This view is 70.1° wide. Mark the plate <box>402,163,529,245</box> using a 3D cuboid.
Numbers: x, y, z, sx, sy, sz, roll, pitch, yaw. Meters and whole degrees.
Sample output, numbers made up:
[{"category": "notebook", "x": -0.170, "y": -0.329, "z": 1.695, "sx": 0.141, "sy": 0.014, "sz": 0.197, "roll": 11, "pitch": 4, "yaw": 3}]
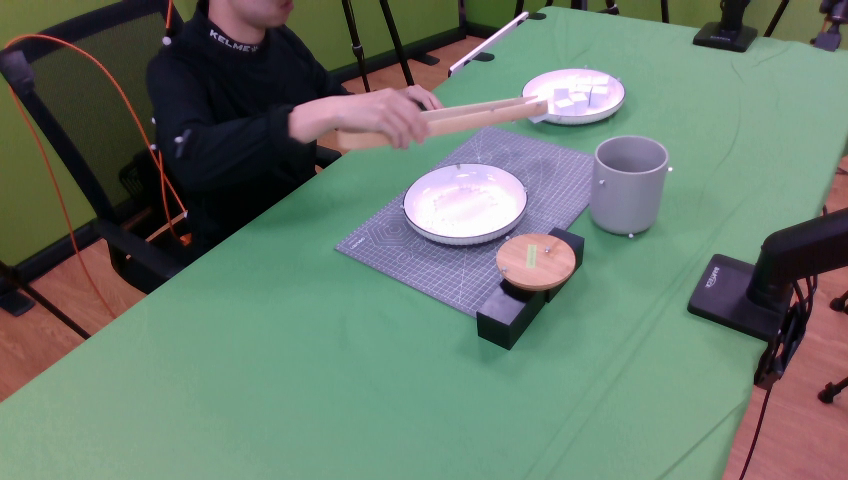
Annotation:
[{"category": "plate", "x": 0.070, "y": -0.056, "z": 1.008, "sx": 0.209, "sy": 0.038, "sz": 0.208, "roll": -4, "pitch": 40, "yaw": 4}]

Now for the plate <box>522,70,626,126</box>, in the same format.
[{"category": "plate", "x": 0.308, "y": -0.290, "z": 1.251, "sx": 0.207, "sy": 0.039, "sz": 0.206, "roll": -4, "pitch": 40, "yaw": 4}]

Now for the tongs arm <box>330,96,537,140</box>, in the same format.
[{"category": "tongs arm", "x": 0.026, "y": -0.208, "z": 1.031, "sx": 0.389, "sy": 0.028, "sz": 0.028, "roll": -13, "pitch": 41, "yaw": -19}]

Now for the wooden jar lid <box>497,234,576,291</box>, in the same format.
[{"category": "wooden jar lid", "x": 0.155, "y": 0.032, "z": 0.834, "sx": 0.108, "sy": 0.021, "sz": 0.108, "roll": -5, "pitch": 40, "yaw": 4}]

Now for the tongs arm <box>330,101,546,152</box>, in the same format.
[{"category": "tongs arm", "x": 0.034, "y": -0.197, "z": 1.015, "sx": 0.387, "sy": 0.026, "sz": 0.050, "roll": -16, "pitch": 38, "yaw": -23}]

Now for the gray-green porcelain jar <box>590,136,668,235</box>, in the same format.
[{"category": "gray-green porcelain jar", "x": 0.314, "y": -0.080, "z": 0.937, "sx": 0.106, "sy": 0.127, "sz": 0.105, "roll": -4, "pitch": 41, "yaw": 4}]
